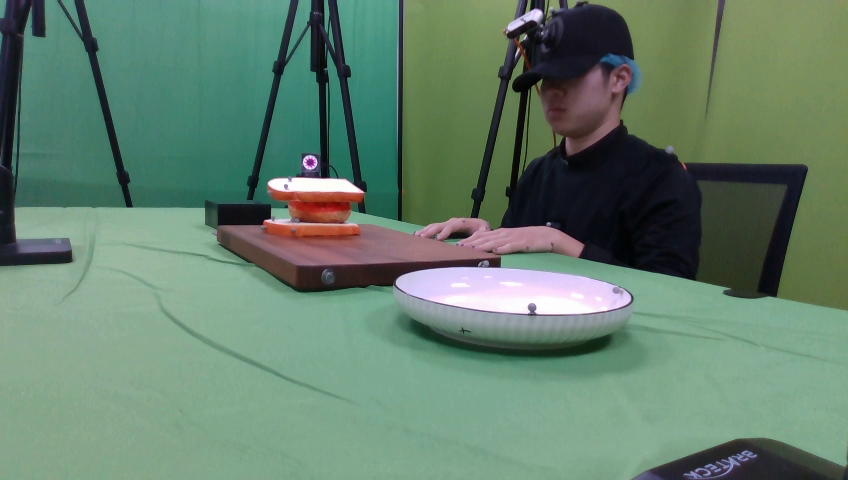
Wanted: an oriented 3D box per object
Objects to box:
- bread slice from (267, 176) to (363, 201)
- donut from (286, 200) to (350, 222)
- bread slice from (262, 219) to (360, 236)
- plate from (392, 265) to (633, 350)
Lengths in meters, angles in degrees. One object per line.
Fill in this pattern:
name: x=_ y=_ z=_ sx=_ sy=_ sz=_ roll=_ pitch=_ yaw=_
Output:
bread slice: x=-0.169 y=-0.078 z=0.923 sx=0.135 sy=0.018 sz=0.106 roll=-4 pitch=18 yaw=-26
donut: x=-0.165 y=-0.051 z=0.938 sx=0.099 sy=0.048 sz=0.099 roll=4 pitch=8 yaw=0
bread slice: x=-0.179 y=-0.021 z=0.931 sx=0.132 sy=0.019 sz=0.104 roll=-2 pitch=7 yaw=-35
plate: x=0.075 y=0.057 z=0.533 sx=0.209 sy=0.038 sz=0.209 roll=3 pitch=7 yaw=0
